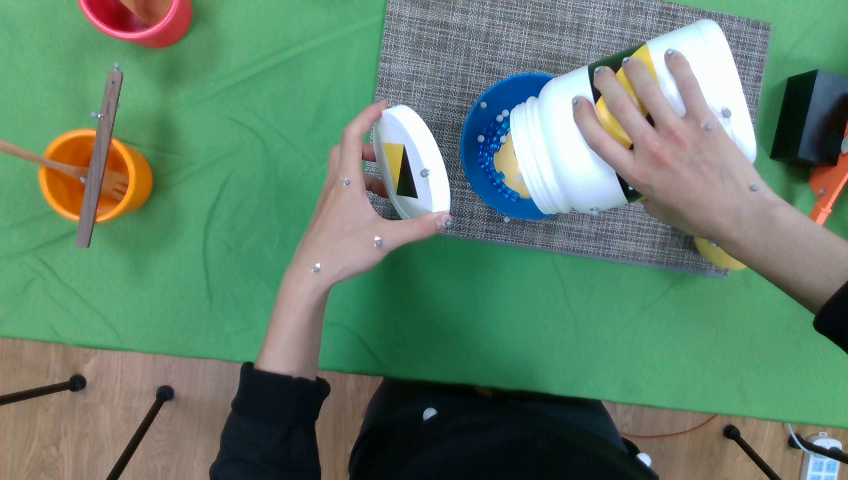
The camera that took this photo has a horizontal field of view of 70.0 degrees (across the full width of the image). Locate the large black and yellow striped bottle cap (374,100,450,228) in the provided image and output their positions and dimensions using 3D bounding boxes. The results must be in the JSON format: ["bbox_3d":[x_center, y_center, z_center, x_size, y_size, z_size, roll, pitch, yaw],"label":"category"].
[{"bbox_3d":[-0.013,-0.066,0.541,0.019,0.114,0.115,-22,97,-21],"label":"large black and yellow striped bottle cap"}]

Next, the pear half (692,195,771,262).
[{"bbox_3d":[0.341,-0.011,0.676,0.056,0.109,0.076,-12,92,-3],"label":"pear half"}]

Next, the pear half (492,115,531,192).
[{"bbox_3d":[0.111,-0.097,0.655,0.070,0.031,0.088,-19,94,-7],"label":"pear half"}]

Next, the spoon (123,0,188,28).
[{"bbox_3d":[-0.320,-0.252,0.574,0.195,0.021,0.041,10,97,-50],"label":"spoon"}]

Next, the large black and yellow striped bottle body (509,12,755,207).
[{"bbox_3d":[0.181,-0.106,0.544,0.183,0.131,0.131,-17,97,24],"label":"large black and yellow striped bottle body"}]

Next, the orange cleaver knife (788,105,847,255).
[{"bbox_3d":[0.471,-0.081,0.700,0.012,0.076,0.213,10,123,-1],"label":"orange cleaver knife"}]

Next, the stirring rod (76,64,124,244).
[{"bbox_3d":[-0.313,-0.082,0.585,0.014,0.006,0.176,12,95,-10],"label":"stirring rod"}]

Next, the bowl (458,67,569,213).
[{"bbox_3d":[0.107,-0.105,0.659,0.151,0.076,0.151,-1,95,-5],"label":"bowl"}]

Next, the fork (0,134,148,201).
[{"bbox_3d":[-0.366,-0.082,0.581,0.028,0.018,0.209,-54,141,8],"label":"fork"}]
